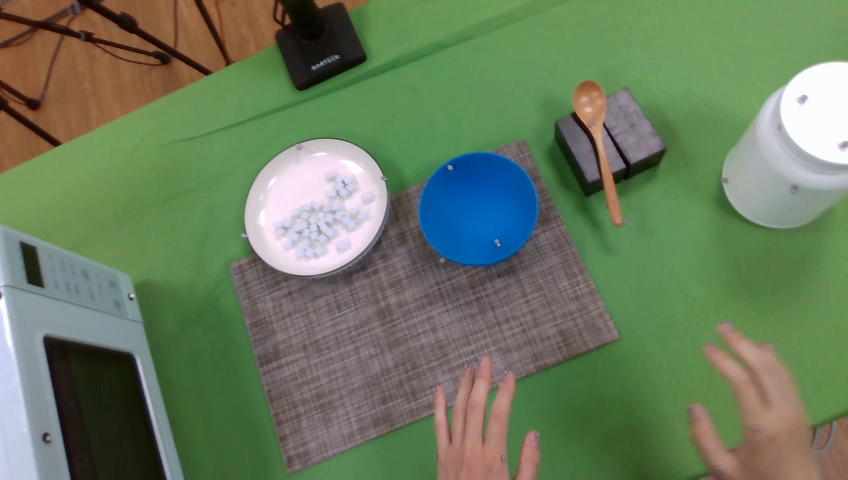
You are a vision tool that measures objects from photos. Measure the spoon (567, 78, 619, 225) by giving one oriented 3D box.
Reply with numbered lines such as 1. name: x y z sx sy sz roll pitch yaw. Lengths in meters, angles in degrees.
1. spoon: 0.217 -0.113 0.764 0.041 0.022 0.192 -10 77 1

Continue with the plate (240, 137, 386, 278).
1. plate: -0.152 -0.044 0.844 0.209 0.038 0.207 -3 70 10

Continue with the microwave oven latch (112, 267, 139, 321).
1. microwave oven latch: -0.422 0.079 0.838 0.030 0.030 0.078 -25 72 1

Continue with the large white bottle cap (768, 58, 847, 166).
1. large white bottle cap: 0.409 -0.129 0.607 0.114 0.018 0.114 -2 73 8

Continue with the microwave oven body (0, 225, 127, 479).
1. microwave oven body: -0.503 0.265 0.696 0.326 0.262 0.438 -25 72 1

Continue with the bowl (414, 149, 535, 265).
1. bowl: 0.067 -0.033 0.780 0.151 0.077 0.150 -3 74 9

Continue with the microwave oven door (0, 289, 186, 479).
1. microwave oven door: -0.355 0.238 0.673 0.039 0.245 0.353 -26 71 2

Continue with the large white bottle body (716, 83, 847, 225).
1. large white bottle body: 0.424 -0.104 0.687 0.130 0.186 0.130 -3 73 9
